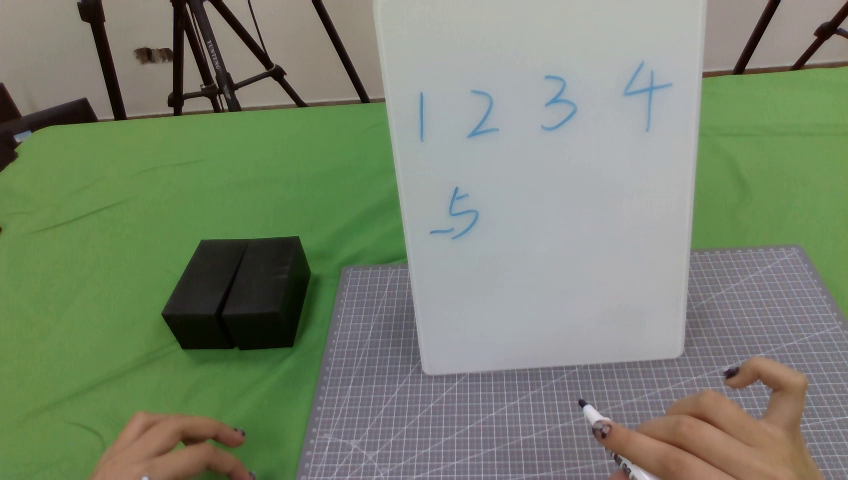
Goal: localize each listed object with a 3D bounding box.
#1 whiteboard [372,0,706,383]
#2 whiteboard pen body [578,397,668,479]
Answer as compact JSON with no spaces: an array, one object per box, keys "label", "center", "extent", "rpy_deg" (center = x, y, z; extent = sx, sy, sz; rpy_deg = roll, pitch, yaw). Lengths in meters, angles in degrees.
[{"label":"whiteboard","center":[0.093,-0.056,0.507],"extent":[0.217,0.307,0.143],"rpy_deg":[-5,23,5]},{"label":"whiteboard pen body","center":[0.125,0.134,0.330],"extent":[0.017,0.017,0.139],"rpy_deg":[-20,36,-14]}]
